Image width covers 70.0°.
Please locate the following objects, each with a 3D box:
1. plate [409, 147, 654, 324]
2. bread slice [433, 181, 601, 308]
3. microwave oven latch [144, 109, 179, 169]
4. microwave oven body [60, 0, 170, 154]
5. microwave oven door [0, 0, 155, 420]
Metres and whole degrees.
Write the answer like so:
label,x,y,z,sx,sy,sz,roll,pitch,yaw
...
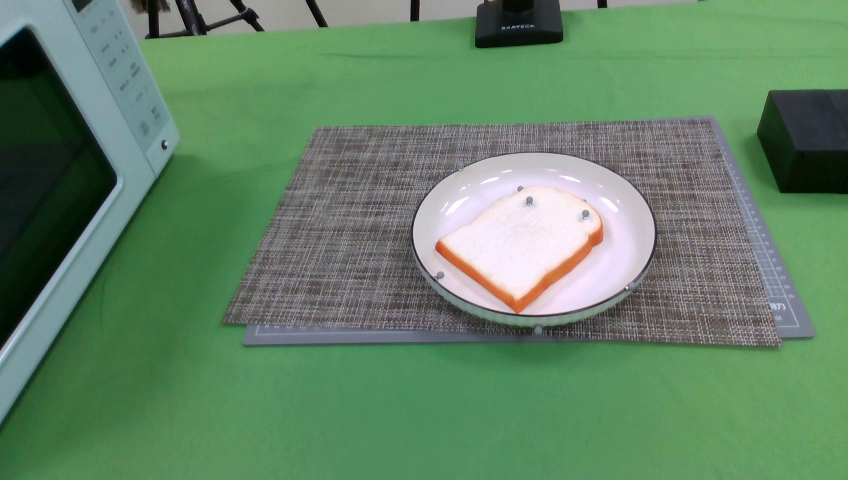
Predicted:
label,x,y,z,sx,sy,sz,roll,pitch,yaw
plate,0.091,-0.007,0.532,0.209,0.038,0.207,-5,44,5
bread slice,0.088,-0.007,0.535,0.131,0.019,0.104,-34,50,-24
microwave oven latch,-0.305,-0.114,0.684,0.030,0.030,0.078,0,46,9
microwave oven body,-0.479,-0.056,0.512,0.325,0.263,0.437,-1,46,8
microwave oven door,-0.338,-0.033,0.459,0.039,0.246,0.352,-1,45,8
